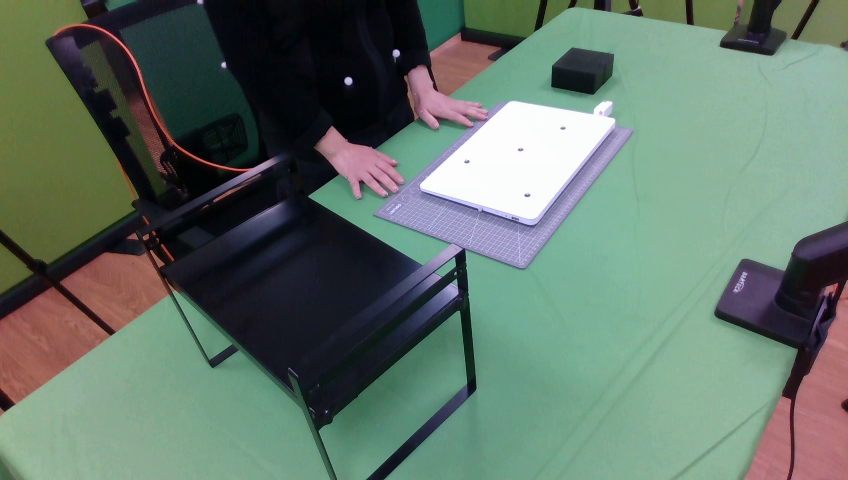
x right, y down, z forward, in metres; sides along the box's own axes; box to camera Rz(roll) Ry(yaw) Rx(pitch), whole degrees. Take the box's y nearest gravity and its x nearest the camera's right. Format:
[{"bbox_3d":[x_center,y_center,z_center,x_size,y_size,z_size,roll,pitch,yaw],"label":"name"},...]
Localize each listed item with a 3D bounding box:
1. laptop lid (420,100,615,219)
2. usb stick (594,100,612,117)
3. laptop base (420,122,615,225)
[{"bbox_3d":[0.180,-0.166,1.125,0.240,0.013,0.357,20,47,31],"label":"laptop lid"},{"bbox_3d":[0.353,-0.254,1.204,0.021,0.027,0.059,20,47,30],"label":"usb stick"},{"bbox_3d":[0.184,-0.156,1.132,0.234,0.023,0.355,18,46,31],"label":"laptop base"}]
